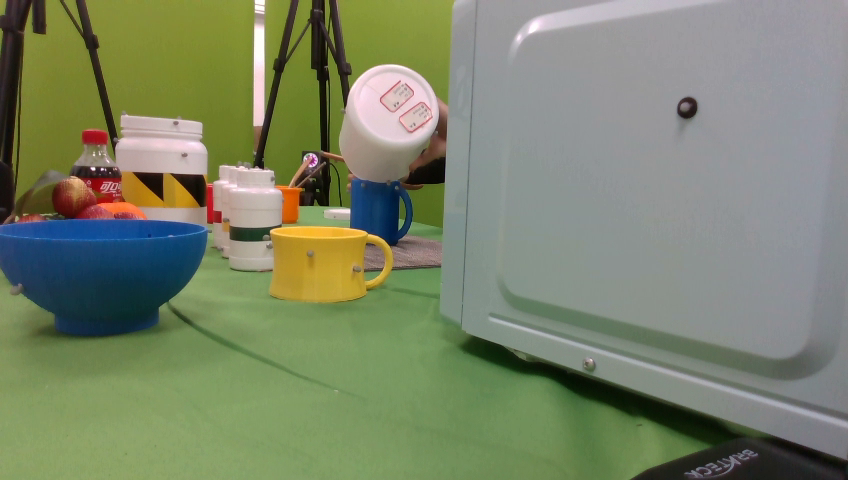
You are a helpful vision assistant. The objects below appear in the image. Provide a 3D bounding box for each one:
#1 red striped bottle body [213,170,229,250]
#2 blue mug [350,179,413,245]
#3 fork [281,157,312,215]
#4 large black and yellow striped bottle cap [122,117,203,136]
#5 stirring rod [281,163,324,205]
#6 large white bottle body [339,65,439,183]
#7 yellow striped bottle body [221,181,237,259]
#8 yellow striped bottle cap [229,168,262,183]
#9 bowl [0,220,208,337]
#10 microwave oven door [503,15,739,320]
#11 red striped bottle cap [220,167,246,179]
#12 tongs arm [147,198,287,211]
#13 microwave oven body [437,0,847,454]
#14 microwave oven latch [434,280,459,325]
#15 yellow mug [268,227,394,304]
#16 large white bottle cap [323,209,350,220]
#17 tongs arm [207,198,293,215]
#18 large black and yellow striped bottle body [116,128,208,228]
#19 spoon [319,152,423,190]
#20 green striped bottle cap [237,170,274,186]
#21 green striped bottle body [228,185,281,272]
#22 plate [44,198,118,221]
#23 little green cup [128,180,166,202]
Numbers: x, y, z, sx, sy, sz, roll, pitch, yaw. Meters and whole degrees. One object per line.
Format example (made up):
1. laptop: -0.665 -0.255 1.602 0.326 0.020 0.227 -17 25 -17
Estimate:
1. red striped bottle body: -0.283 -0.047 0.909 0.063 0.119 0.063 3 14 0
2. blue mug: -0.068 -0.047 1.001 0.116 0.106 0.083 6 9 29
3. fork: -0.289 -0.116 1.321 0.028 0.019 0.207 6 51 19
4. large black and yellow striped bottle cap: -0.399 -0.174 0.927 0.115 0.019 0.115 5 9 -1
5. stirring rod: -0.278 -0.105 1.293 0.176 0.006 0.014 -47 25 -18
6. large white bottle body: -0.060 -0.165 0.920 0.131 0.130 0.184 1 -14 -13
7. yellow striped bottle body: -0.244 -0.035 0.823 0.063 0.120 0.063 2 8 0
8. yellow striped bottle cap: -0.240 -0.087 0.816 0.044 0.018 0.044 -3 5 1
9. bowl: -0.251 0.029 0.479 0.151 0.077 0.151 2 7 0
10. microwave oven door: 0.218 -0.065 0.600 0.358 0.243 0.039 -4 10 -41
11. red striped bottle cap: -0.281 -0.099 0.901 0.044 0.017 0.044 -1 5 0
12. tongs arm: -0.504 -0.090 1.513 0.028 0.028 0.389 -1 4 38
13. microwave oven body: 0.279 -0.040 0.464 0.444 0.260 0.324 -3 9 -41
14. microwave oven latch: 0.044 0.045 0.470 0.079 0.029 0.030 -2 8 -39
15. yellow mug: -0.094 0.023 0.629 0.131 0.064 0.099 0 7 -22
16. large white bottle cap: -0.184 -0.062 1.450 0.115 0.018 0.115 2 8 0
17. tongs arm: -0.423 -0.084 1.472 0.050 0.026 0.386 1 6 21
18. large black and yellow striped bottle body: -0.404 -0.089 0.937 0.131 0.184 0.130 3 7 0
19. spoon: -0.094 -0.125 1.085 0.194 0.021 0.041 22 6 -6
20. green striped bottle cap: -0.205 -0.075 0.737 0.044 0.020 0.044 1 5 0
21. green striped bottle body: -0.208 -0.024 0.745 0.063 0.119 0.063 2 7 0
22. plate: -0.617 -0.056 1.179 0.209 0.038 0.209 3 7 0
23. little green cup: -0.485 -0.087 1.062 0.061 0.038 0.061 -1 6 0
